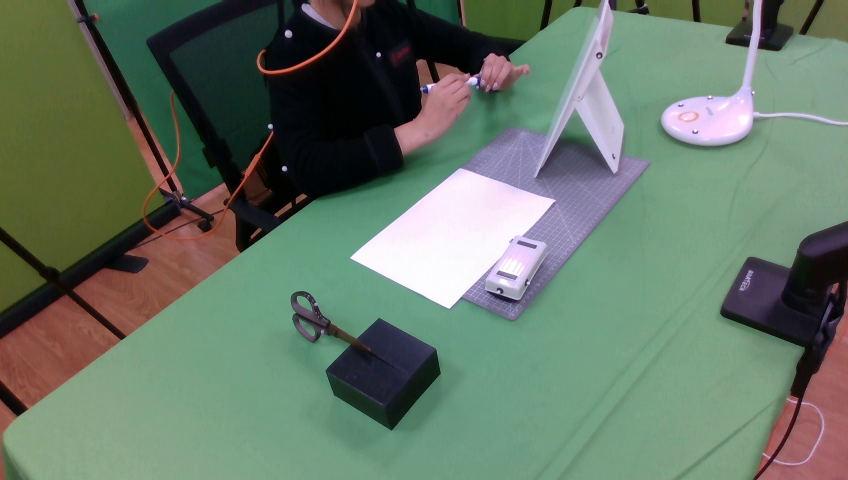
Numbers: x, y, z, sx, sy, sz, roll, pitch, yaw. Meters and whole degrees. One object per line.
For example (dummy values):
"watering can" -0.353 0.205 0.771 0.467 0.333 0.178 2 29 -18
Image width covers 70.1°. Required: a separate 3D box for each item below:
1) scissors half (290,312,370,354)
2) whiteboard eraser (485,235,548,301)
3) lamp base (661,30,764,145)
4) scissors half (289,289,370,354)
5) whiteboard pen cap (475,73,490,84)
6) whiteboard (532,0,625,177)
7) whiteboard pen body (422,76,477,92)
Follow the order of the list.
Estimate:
"scissors half" -0.128 0.129 0.816 0.013 0.040 0.173 -23 22 -40
"whiteboard eraser" 0.137 0.042 0.887 0.055 0.042 0.113 15 46 27
"lamp base" 0.535 -0.287 1.096 0.179 0.181 0.159 -10 40 -4
"scissors half" -0.128 0.110 0.809 0.013 0.040 0.173 -17 36 -43
"whiteboard pen cap" 0.114 -0.317 1.192 0.033 0.018 0.018 -18 40 -26
"whiteboard" 0.320 -0.258 1.050 0.144 0.306 0.217 21 45 5
"whiteboard pen body" 0.060 -0.303 1.167 0.141 0.017 0.017 -16 40 -24
